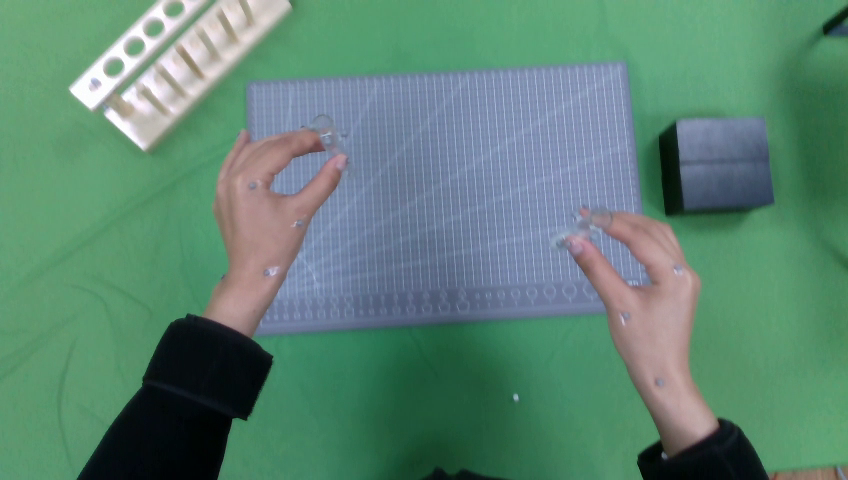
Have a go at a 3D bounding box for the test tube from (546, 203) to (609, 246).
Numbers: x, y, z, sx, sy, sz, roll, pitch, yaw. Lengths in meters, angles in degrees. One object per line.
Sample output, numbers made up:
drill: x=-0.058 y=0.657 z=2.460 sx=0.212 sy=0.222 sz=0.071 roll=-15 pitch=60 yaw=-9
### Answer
test tube: x=0.115 y=-0.010 z=0.470 sx=0.017 sy=0.151 sz=0.017 roll=0 pitch=84 yaw=1

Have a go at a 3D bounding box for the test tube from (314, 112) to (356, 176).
test tube: x=-0.073 y=-0.078 z=0.512 sx=0.017 sy=0.150 sz=0.017 roll=0 pitch=83 yaw=0

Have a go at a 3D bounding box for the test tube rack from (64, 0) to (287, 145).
test tube rack: x=-0.265 y=-0.225 z=0.671 sx=0.066 sy=0.085 sz=0.242 roll=41 pitch=84 yaw=5
